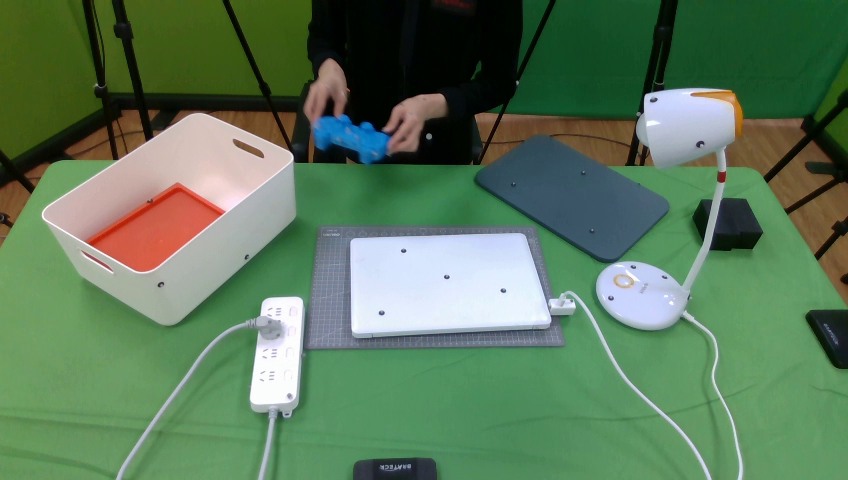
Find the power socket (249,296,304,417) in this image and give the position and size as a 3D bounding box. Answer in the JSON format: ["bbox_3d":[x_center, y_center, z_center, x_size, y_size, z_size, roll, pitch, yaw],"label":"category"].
[{"bbox_3d":[-0.239,0.182,0.996,0.072,0.033,0.225,-2,47,-5],"label":"power socket"}]

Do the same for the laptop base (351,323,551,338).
[{"bbox_3d":[0.040,0.080,1.125,0.355,0.023,0.234,-2,43,-6],"label":"laptop base"}]

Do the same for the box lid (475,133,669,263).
[{"bbox_3d":[0.324,-0.105,1.334,0.369,0.015,0.263,36,54,27],"label":"box lid"}]

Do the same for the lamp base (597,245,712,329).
[{"bbox_3d":[0.418,0.051,1.071,0.179,0.181,0.160,22,49,13],"label":"lamp base"}]

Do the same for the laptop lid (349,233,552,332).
[{"bbox_3d":[0.040,0.071,1.118,0.357,0.013,0.240,-1,44,-5],"label":"laptop lid"}]

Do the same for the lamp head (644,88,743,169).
[{"bbox_3d":[0.380,-0.161,0.851,0.122,0.113,0.112,-4,42,25],"label":"lamp head"}]

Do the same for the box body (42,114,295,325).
[{"bbox_3d":[-0.437,-0.046,1.110,0.253,0.161,0.363,24,49,19],"label":"box body"}]

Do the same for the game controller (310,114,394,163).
[{"bbox_3d":[-0.141,-0.202,1.149,0.155,0.052,0.097,19,46,9],"label":"game controller"}]

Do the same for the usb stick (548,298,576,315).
[{"bbox_3d":[0.240,0.120,1.086,0.059,0.027,0.021,-2,51,-2],"label":"usb stick"}]

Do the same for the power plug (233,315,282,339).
[{"bbox_3d":[-0.271,0.144,0.999,0.072,0.053,0.035,6,47,3],"label":"power plug"}]
